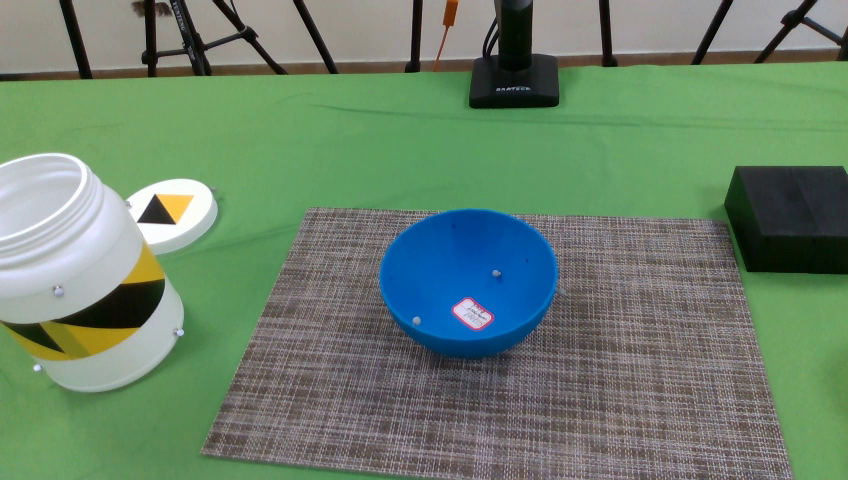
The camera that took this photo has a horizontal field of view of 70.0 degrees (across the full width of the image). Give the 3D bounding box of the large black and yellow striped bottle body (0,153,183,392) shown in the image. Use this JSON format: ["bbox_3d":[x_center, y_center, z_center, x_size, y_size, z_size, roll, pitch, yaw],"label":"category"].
[{"bbox_3d":[-0.304,0.030,0.522,0.131,0.186,0.129,-4,45,4],"label":"large black and yellow striped bottle body"}]

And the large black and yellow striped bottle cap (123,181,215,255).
[{"bbox_3d":[-0.302,-0.028,0.701,0.115,0.019,0.114,-2,45,3],"label":"large black and yellow striped bottle cap"}]

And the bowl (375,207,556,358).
[{"bbox_3d":[0.037,0.050,0.530,0.151,0.077,0.150,-3,45,4],"label":"bowl"}]
